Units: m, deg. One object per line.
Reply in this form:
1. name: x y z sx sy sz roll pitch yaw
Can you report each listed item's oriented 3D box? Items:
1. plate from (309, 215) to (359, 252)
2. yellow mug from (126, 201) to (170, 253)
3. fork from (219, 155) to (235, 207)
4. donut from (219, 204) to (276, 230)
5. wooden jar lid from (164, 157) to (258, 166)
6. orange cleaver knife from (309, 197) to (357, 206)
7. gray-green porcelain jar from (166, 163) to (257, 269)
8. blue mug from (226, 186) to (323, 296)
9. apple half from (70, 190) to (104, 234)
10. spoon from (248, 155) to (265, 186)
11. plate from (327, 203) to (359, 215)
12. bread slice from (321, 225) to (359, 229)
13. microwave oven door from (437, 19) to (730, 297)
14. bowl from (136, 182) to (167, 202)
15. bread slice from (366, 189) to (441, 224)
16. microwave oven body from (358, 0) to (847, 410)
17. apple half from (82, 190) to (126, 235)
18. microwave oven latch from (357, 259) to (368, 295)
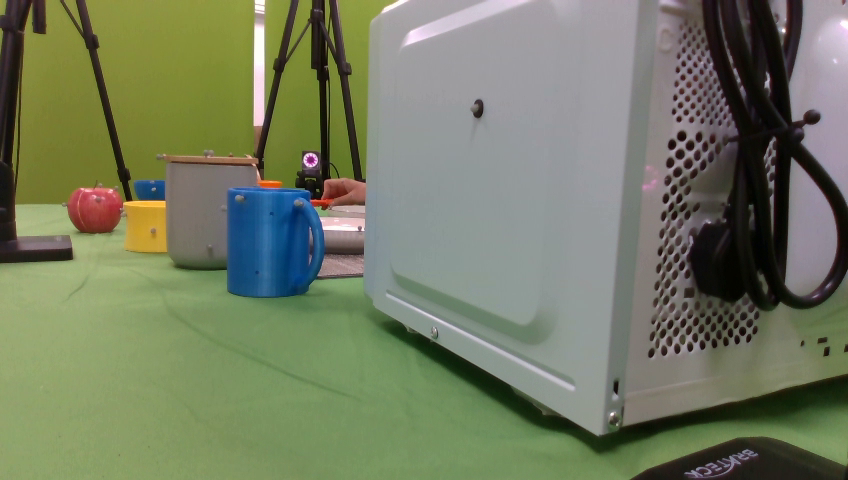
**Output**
1. plate: -0.130 -0.011 0.945 0.208 0.039 0.207 2 7 0
2. yellow mug: -0.361 -0.019 0.866 0.130 0.064 0.100 6 9 27
3. fork: -0.459 -0.134 1.415 0.028 0.018 0.207 -1 -34 -24
4. donut: -0.316 -0.039 1.083 0.099 0.048 0.099 2 7 0
5. wooden jar lid: -0.261 -0.093 0.746 0.108 0.020 0.108 0 9 0
6. orange cleaver knife: -0.264 -0.090 1.420 0.212 0.012 0.077 -2 -10 -30
7. gray-green porcelain jar: -0.263 -0.031 0.754 0.106 0.126 0.106 2 7 0
8. blue mug: -0.148 0.000 0.618 0.116 0.106 0.083 7 9 33
9. apple half: -0.552 -0.048 1.010 0.053 0.074 0.081 -1 10 26
10. spoon: -0.417 -0.150 1.543 0.042 0.193 0.021 -6 -34 -32
11. plate: -0.102 -0.053 1.299 0.209 0.038 0.209 2 8 0
12. bread slice: -0.125 -0.009 0.938 0.131 0.019 0.105 5 9 32
13. microwave oven door: 0.181 -0.076 0.618 0.358 0.243 0.039 -2 8 -28
14. bowl: -0.497 -0.076 1.221 0.151 0.077 0.151 2 8 0
15. bread slice: -0.046 -0.062 1.137 0.107 0.018 0.134 -8 -15 -40
16. microwave oven body: 0.210 -0.051 0.471 0.444 0.260 0.324 -1 7 -28
17. apple half: -0.516 -0.046 0.994 0.032 0.081 0.081 0 6 26
18. microwave oven latch: -0.019 0.031 0.529 0.079 0.029 0.030 -1 7 -26
